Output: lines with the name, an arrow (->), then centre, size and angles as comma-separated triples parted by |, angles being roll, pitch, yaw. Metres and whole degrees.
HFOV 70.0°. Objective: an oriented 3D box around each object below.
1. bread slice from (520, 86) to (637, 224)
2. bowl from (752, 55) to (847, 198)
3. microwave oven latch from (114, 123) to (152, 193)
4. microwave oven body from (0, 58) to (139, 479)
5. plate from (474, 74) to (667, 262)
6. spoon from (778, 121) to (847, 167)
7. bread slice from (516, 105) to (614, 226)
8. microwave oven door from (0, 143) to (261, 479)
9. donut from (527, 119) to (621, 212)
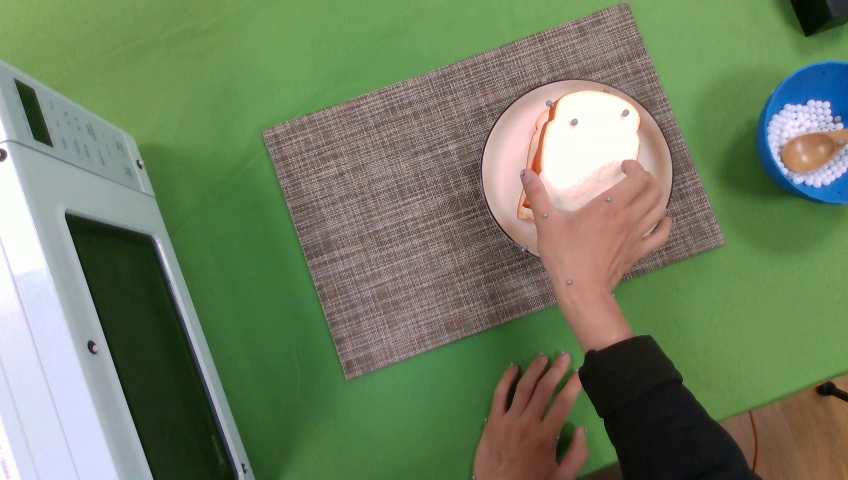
bread slice -> 0.161, -0.090, 0.612 | 0.105, 0.019, 0.131 | 11, 89, -1
bowl -> 0.419, -0.113, 0.655 | 0.151, 0.077, 0.151 | 0, 84, 0
microwave oven latch -> -0.328, -0.085, 0.662 | 0.030, 0.029, 0.079 | -22, 86, -2
microwave oven body -> -0.402, 0.123, 0.547 | 0.326, 0.260, 0.440 | -22, 85, -2
plate -> 0.158, -0.077, 0.671 | 0.208, 0.039, 0.207 | 0, 85, 0
spoon -> 0.466, -0.128, 0.624 | 0.193, 0.022, 0.041 | -25, 81, 20
bread slice -> 0.159, -0.085, 0.671 | 0.107, 0.018, 0.134 | 5, 84, 0
microwave oven door -> -0.251, 0.107, 0.542 | 0.039, 0.244, 0.355 | -22, 85, -1
donut -> 0.159, -0.078, 0.642 | 0.099, 0.048, 0.099 | 0, 86, 1
